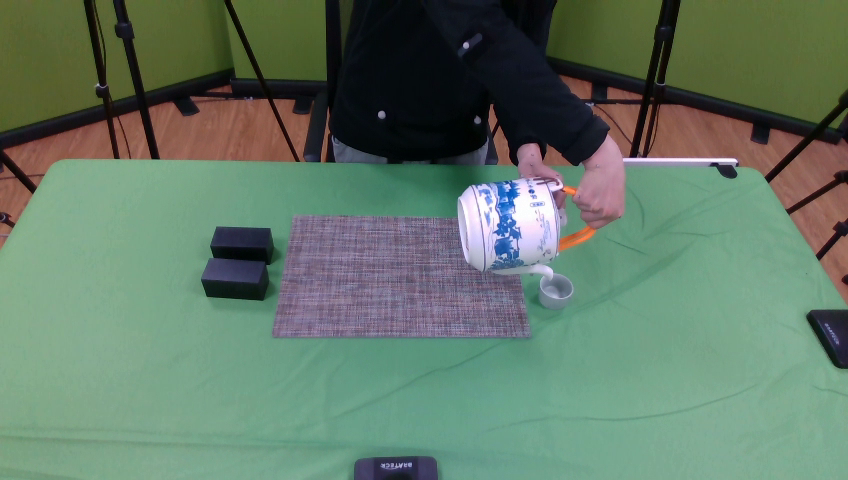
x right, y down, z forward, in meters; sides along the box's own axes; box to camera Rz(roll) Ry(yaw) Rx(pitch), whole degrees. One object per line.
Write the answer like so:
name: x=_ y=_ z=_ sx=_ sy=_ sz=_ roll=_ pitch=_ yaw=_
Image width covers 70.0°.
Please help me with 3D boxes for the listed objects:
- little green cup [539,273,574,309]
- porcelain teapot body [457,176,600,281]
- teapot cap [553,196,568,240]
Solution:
little green cup: x=0.240 y=0.096 z=1.113 sx=0.061 sy=0.039 sz=0.061 roll=3 pitch=47 yaw=-2
porcelain teapot body: x=0.177 y=-0.008 z=1.019 sx=0.225 sy=0.206 sz=0.144 roll=-8 pitch=38 yaw=-3
teapot cap: x=0.214 y=-0.036 z=1.000 sx=0.044 sy=0.085 sz=0.084 roll=-6 pitch=47 yaw=-5
